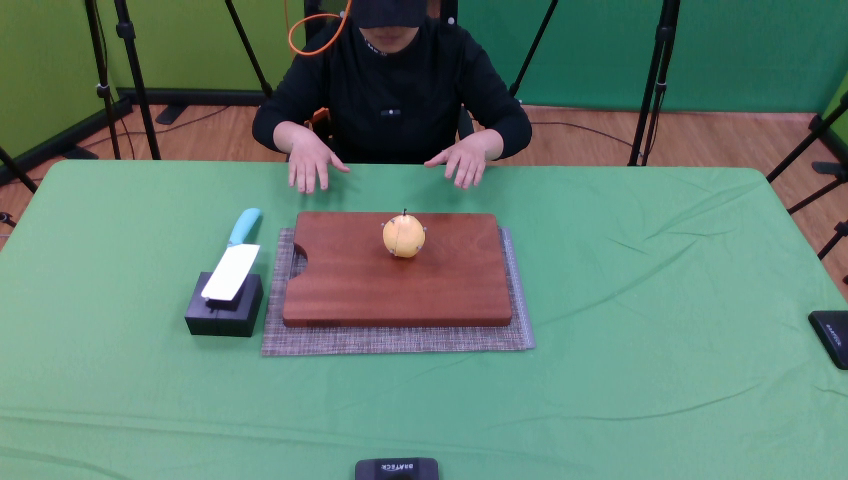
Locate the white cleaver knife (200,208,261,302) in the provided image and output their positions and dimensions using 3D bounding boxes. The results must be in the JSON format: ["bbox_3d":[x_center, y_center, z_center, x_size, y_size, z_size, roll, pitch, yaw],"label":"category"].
[{"bbox_3d":[-0.338,0.024,1.116,0.066,0.021,0.285,6,35,-3],"label":"white cleaver knife"}]

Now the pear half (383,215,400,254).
[{"bbox_3d":[-0.061,-0.013,1.119,0.031,0.088,0.070,0,54,-4],"label":"pear half"}]

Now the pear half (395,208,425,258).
[{"bbox_3d":[-0.025,-0.018,1.113,0.056,0.110,0.076,0,50,-3],"label":"pear half"}]
